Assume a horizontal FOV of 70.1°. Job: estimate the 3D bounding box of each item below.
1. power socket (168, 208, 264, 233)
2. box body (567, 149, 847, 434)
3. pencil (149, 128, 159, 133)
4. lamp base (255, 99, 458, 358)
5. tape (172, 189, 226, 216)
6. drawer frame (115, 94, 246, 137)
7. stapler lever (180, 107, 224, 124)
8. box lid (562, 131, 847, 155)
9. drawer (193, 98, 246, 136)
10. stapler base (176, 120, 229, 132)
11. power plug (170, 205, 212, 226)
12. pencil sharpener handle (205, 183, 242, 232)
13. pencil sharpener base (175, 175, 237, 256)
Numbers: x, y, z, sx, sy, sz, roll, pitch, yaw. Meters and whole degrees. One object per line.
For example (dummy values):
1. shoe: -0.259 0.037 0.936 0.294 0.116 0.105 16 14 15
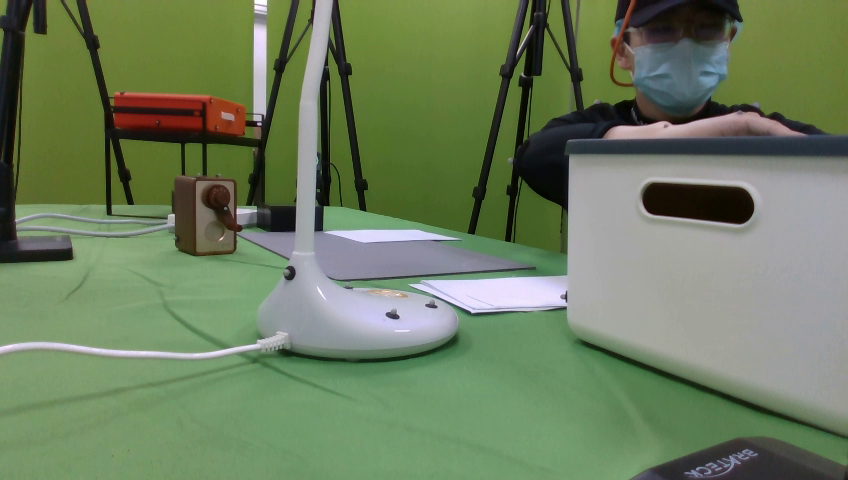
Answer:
1. power socket: -0.381 -0.038 1.129 0.072 0.032 0.227 4 8 17
2. box body: 0.318 0.009 0.471 0.366 0.160 0.253 -2 8 -31
3. pencil: -0.528 -0.258 1.360 0.012 0.012 0.195 8 20 35
4. lamp base: -0.056 -0.013 0.462 0.160 0.180 0.180 6 11 27
5. tape: -0.515 -0.087 1.388 0.117 0.052 0.117 3 8 0
6. drawer frame: -0.543 -0.281 1.374 0.213 0.082 0.201 2 8 4
7. stapler lever: -0.496 -0.281 1.359 0.027 0.040 0.118 2 8 22
8. box lid: 0.322 -0.064 0.463 0.373 0.015 0.262 -2 9 -31
9. drawer: -0.539 -0.279 1.374 0.212 0.073 0.194 2 8 5
10. stapler base: -0.496 -0.257 1.363 0.041 0.024 0.131 2 9 22
11. power plug: -0.455 -0.041 1.196 0.052 0.035 0.072 1 42 23
12. pencil sharpener handle: -0.265 -0.043 0.812 0.036 0.068 0.030 -31 27 -35
13. pencil sharpener base: -0.304 -0.036 0.847 0.062 0.107 0.076 -4 10 -42
